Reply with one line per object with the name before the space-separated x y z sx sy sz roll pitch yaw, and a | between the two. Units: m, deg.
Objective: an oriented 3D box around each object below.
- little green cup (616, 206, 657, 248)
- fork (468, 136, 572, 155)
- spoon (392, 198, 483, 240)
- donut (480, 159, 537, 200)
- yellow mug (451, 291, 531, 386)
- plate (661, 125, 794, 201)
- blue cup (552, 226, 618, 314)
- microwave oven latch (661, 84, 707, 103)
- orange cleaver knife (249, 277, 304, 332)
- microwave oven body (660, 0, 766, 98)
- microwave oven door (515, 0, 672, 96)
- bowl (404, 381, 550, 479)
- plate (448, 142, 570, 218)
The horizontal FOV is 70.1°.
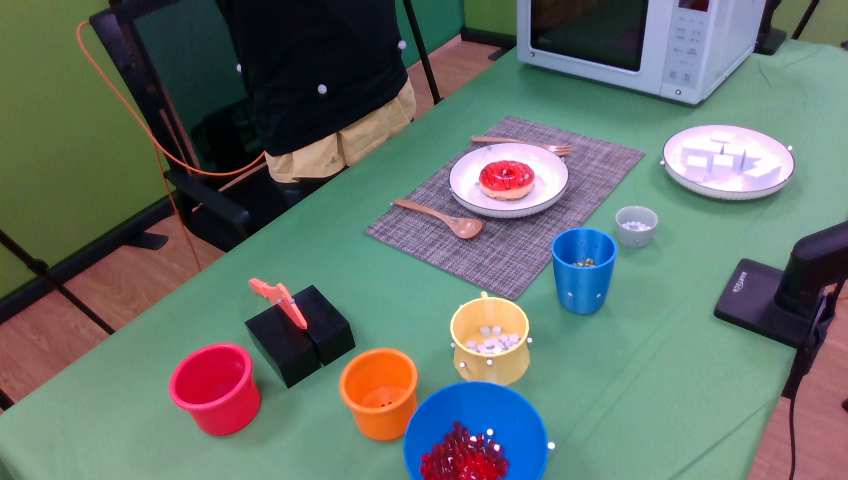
little green cup | 0.327 -0.019 0.935 0.061 0.039 0.061 -4 40 4
fork | 0.181 -0.184 1.160 0.206 0.019 0.028 13 60 21
spoon | 0.018 -0.042 1.016 0.192 0.022 0.041 24 74 31
donut | 0.145 -0.106 1.042 0.099 0.048 0.098 -4 37 4
yellow mug | 0.085 0.120 0.786 0.100 0.064 0.130 -7 39 1
plate | 0.513 -0.128 1.035 0.207 0.039 0.206 -4 40 4
blue cup | 0.218 0.047 0.826 0.092 0.101 0.092 -6 40 5
microwave oven latch | 0.517 -0.296 1.204 0.078 0.029 0.030 26 52 34
orange cleaver knife | -0.210 0.088 0.855 0.012 0.077 0.210 -27 14 -25
microwave oven body | 0.473 -0.513 1.317 0.438 0.261 0.327 26 51 34
microwave oven door | 0.344 -0.455 1.259 0.353 0.245 0.039 26 51 33
bowl | 0.058 0.235 0.645 0.151 0.077 0.150 -4 39 4
plate | 0.148 -0.101 1.053 0.209 0.038 0.208 -4 40 4
